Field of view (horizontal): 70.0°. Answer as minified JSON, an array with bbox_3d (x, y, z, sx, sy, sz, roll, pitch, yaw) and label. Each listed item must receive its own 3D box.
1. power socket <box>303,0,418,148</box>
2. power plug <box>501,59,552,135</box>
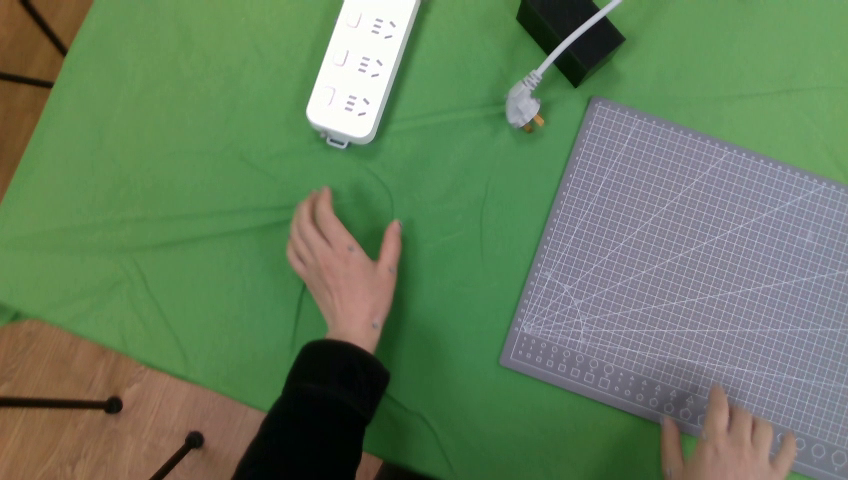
[{"bbox_3d":[-0.060,-0.206,0.629,0.072,0.032,0.226,19,85,0],"label":"power socket"},{"bbox_3d":[0.111,-0.139,0.614,0.072,0.035,0.053,-29,129,30],"label":"power plug"}]
